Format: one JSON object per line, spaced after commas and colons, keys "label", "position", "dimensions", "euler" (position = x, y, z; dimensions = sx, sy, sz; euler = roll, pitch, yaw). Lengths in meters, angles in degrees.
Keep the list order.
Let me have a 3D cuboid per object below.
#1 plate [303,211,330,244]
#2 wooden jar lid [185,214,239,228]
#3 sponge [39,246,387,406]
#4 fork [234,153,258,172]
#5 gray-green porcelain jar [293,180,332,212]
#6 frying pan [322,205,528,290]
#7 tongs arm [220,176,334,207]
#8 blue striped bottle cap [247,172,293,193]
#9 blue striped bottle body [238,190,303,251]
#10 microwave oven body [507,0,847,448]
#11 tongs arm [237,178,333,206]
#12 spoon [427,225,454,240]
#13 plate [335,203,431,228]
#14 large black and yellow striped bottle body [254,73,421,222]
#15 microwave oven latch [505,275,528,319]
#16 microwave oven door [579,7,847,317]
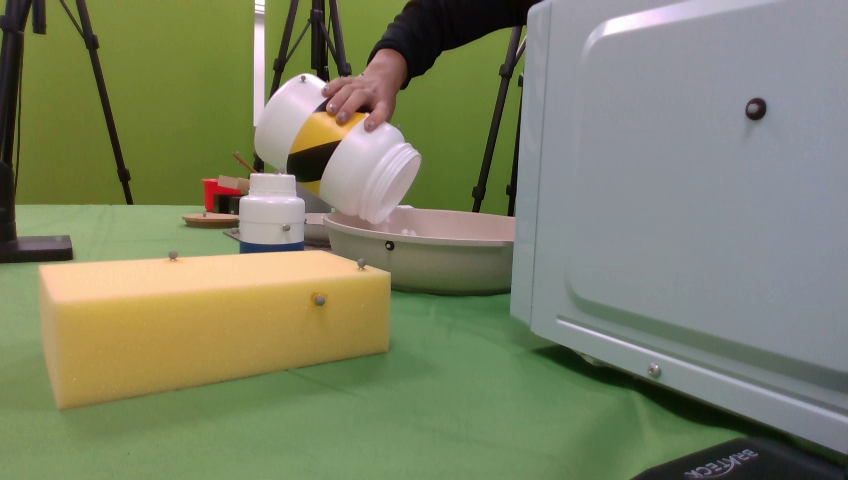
{"label": "plate", "position": [-0.139, -0.022, 1.021], "dimensions": [0.209, 0.038, 0.209], "euler": [2, 8, 0]}
{"label": "wooden jar lid", "position": [-0.404, -0.037, 1.169], "dimensions": [0.108, 0.020, 0.108], "euler": [3, 7, 0]}
{"label": "sponge", "position": [-0.142, 0.047, 0.420], "dimensions": [0.208, 0.061, 0.117], "euler": [-3, 10, -36]}
{"label": "fork", "position": [-0.396, -0.143, 1.486], "dimensions": [0.028, 0.018, 0.208], "euler": [19, -26, 45]}
{"label": "gray-green porcelain jar", "position": [-0.238, -0.092, 1.221], "dimensions": [0.106, 0.126, 0.106], "euler": [2, 7, 0]}
{"label": "frying pan", "position": [0.109, -0.017, 0.800], "dimensions": [0.490, 0.102, 0.305], "euler": [-12, 16, -30]}
{"label": "tongs arm", "position": [-0.285, -0.105, 1.445], "dimensions": [0.389, 0.027, 0.028], "euler": [9, -3, -23]}
{"label": "blue striped bottle cap", "position": [-0.152, -0.057, 0.598], "dimensions": [0.044, 0.020, 0.044], "euler": [3, 6, 0]}
{"label": "blue striped bottle body", "position": [-0.153, -0.007, 0.605], "dimensions": [0.063, 0.120, 0.063], "euler": [2, 7, 0]}
{"label": "microwave oven body", "position": [0.331, -0.042, 0.425], "dimensions": [0.444, 0.260, 0.324], "euler": [-2, 8, -31]}
{"label": "tongs arm", "position": [-0.241, -0.095, 1.374], "dimensions": [0.387, 0.026, 0.050], "euler": [9, 0, -37]}
{"label": "spoon", "position": [0.024, -0.019, 1.125], "dimensions": [0.042, 0.021, 0.193], "euler": [-14, 9, -4]}
{"label": "plate", "position": [-0.089, -0.053, 1.309], "dimensions": [0.208, 0.039, 0.207], "euler": [2, 8, 0]}
{"label": "large black and yellow striped bottle body", "position": [-0.109, -0.116, 0.783], "dimensions": [0.184, 0.130, 0.131], "euler": [33, 13, 8]}
{"label": "microwave oven latch", "position": [0.100, 0.042, 0.471], "dimensions": [0.079, 0.029, 0.030], "euler": [-1, 7, -29]}
{"label": "microwave oven door", "position": [0.294, -0.067, 0.570], "dimensions": [0.358, 0.243, 0.039], "euler": [-3, 9, -31]}
